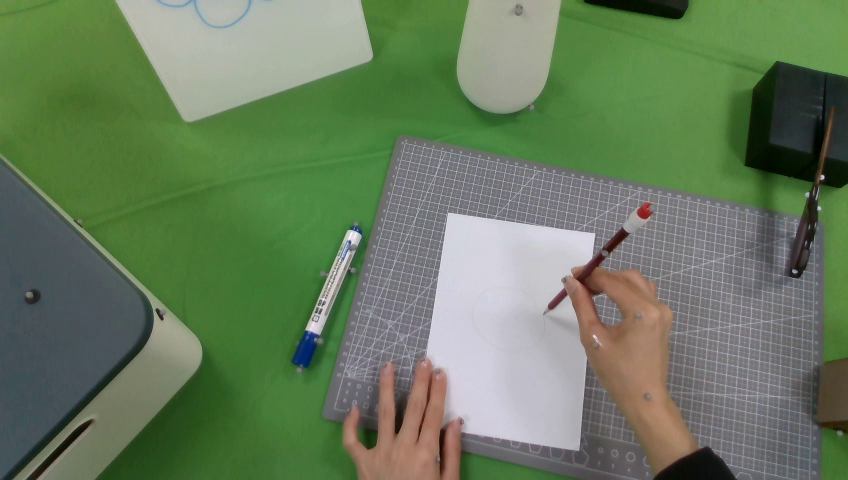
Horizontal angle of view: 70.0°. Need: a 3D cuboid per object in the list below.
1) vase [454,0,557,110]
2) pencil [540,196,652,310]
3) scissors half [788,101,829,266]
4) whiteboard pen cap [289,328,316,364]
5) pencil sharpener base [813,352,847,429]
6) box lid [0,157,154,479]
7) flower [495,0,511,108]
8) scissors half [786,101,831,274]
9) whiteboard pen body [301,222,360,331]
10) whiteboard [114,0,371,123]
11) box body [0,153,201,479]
[{"bbox_3d":[0.080,-0.212,0.579,0.098,0.201,0.097,0,70,0],"label":"vase"},{"bbox_3d":[0.134,0.020,0.503,0.012,0.195,0.012,6,59,-11],"label":"pencil"},{"bbox_3d":[0.371,-0.057,0.576,0.013,0.040,0.174,13,73,24],"label":"scissors half"},{"bbox_3d":[-0.112,0.098,0.565,0.018,0.018,0.033,18,68,6],"label":"whiteboard pen cap"},{"bbox_3d":[0.402,0.132,0.516,0.076,0.107,0.061,16,71,2],"label":"pencil sharpener base"},{"bbox_3d":[-0.404,0.033,0.430,0.370,0.015,0.263,38,75,11],"label":"box lid"},{"bbox_3d":[0.076,-0.253,0.505,0.044,0.365,0.038,5,53,5],"label":"flower"},{"bbox_3d":[0.379,-0.052,0.594,0.012,0.040,0.175,13,90,30],"label":"scissors half"},{"bbox_3d":[-0.094,0.045,0.585,0.017,0.017,0.140,19,70,6],"label":"whiteboard pen body"},{"bbox_3d":[-0.200,-0.305,0.582,0.217,0.308,0.142,-21,53,-7],"label":"whiteboard"},{"bbox_3d":[-0.403,0.059,0.500,0.362,0.161,0.253,38,75,11],"label":"box body"}]
